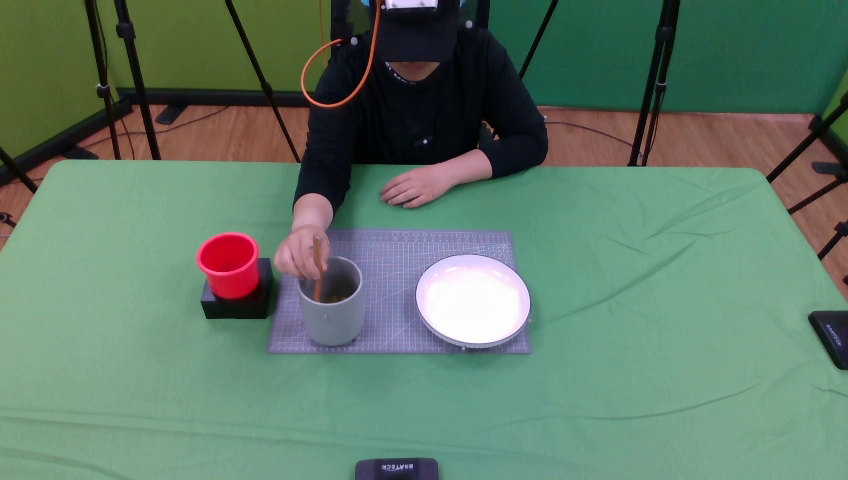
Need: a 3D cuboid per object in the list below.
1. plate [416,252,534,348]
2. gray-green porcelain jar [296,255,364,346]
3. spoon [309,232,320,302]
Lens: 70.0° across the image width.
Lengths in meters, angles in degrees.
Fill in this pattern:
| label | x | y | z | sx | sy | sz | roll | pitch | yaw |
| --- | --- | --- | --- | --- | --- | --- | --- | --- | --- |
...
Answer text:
| label | x | y | z | sx | sy | sz | roll | pitch | yaw |
| --- | --- | --- | --- | --- | --- | --- | --- | --- | --- |
| plate | 0.090 | 0.109 | 1.084 | 0.208 | 0.039 | 0.206 | 2 | 46 | -2 |
| gray-green porcelain jar | -0.153 | 0.106 | 1.008 | 0.106 | 0.127 | 0.105 | 2 | 46 | -2 |
| spoon | -0.171 | 0.066 | 0.951 | 0.022 | 0.194 | 0.041 | -12 | 40 | -29 |
